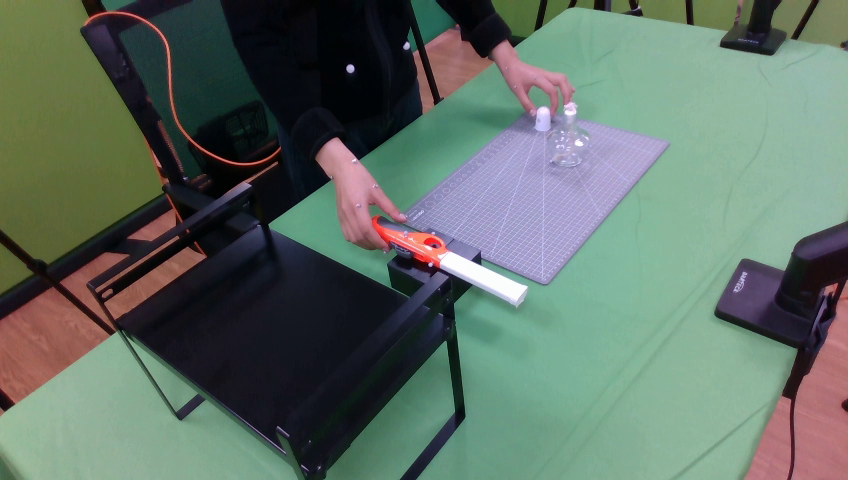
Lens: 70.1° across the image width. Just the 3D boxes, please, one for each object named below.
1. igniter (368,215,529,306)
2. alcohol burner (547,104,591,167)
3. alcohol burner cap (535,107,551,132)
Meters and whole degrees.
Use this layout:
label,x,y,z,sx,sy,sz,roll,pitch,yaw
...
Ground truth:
label,x,y,z,sx,sy,sz,roll,pitch,yaw
igniter,0.024,0.024,0.868,0.274,0.025,0.057,25,49,28
alcohol burner,0.261,-0.192,1.087,0.078,0.119,0.077,-5,42,5
alcohol burner cap,0.238,-0.243,1.206,0.034,0.048,0.033,-4,42,4
